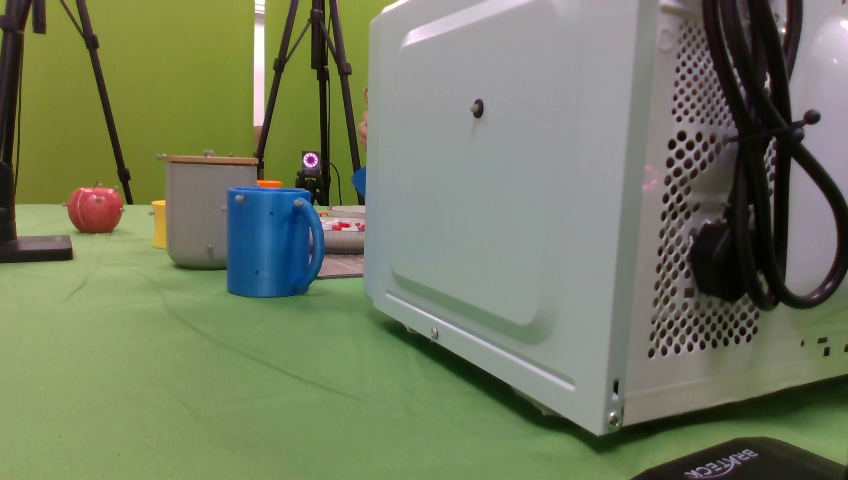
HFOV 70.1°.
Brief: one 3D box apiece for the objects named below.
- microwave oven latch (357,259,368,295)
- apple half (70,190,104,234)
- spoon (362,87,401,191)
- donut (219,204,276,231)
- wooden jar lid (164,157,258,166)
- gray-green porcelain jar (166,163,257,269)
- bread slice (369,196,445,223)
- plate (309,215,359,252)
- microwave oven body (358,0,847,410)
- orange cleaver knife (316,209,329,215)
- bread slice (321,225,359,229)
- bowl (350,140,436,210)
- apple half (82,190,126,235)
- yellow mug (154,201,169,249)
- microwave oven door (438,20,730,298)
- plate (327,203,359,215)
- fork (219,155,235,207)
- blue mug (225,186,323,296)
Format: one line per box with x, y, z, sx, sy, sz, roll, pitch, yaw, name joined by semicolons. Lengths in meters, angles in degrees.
-0.019;0.031;0.529;0.079;0.029;0.030;-1;7;-26;microwave oven latch
-0.552;-0.047;1.010;0.053;0.074;0.081;-1;9;26;apple half
-0.073;-0.174;1.031;0.022;0.193;0.041;-14;-9;-4;spoon
-0.316;-0.039;1.083;0.099;0.048;0.099;2;7;0;donut
-0.261;-0.093;0.746;0.108;0.020;0.108;0;9;0;wooden jar lid
-0.263;-0.031;0.754;0.106;0.126;0.106;2;7;0;gray-green porcelain jar
-0.040;-0.057;1.142;0.107;0.018;0.133;-8;-8;-40;bread slice
-0.130;-0.011;0.945;0.208;0.039;0.207;2;8;0;plate
0.210;-0.051;0.471;0.444;0.260;0.324;-1;7;-28;microwave oven body
-0.259;-0.064;1.423;0.212;0.012;0.077;-4;3;-30;orange cleaver knife
-0.125;-0.009;0.938;0.131;0.019;0.105;5;8;32;bread slice
-0.039;-0.099;1.012;0.151;0.076;0.151;-22;-3;-1;bowl
-0.516;-0.046;0.994;0.032;0.081;0.081;0;6;26;apple half
-0.337;-0.022;0.899;0.130;0.064;0.100;8;9;34;yellow mug
0.181;-0.076;0.618;0.358;0.243;0.039;-2;8;-28;microwave oven door
-0.102;-0.053;1.299;0.209;0.038;0.209;2;8;0;plate
-0.459;-0.134;1.415;0.028;0.018;0.207;-1;-34;-25;fork
-0.148;0.000;0.618;0.116;0.106;0.083;7;9;33;blue mug
